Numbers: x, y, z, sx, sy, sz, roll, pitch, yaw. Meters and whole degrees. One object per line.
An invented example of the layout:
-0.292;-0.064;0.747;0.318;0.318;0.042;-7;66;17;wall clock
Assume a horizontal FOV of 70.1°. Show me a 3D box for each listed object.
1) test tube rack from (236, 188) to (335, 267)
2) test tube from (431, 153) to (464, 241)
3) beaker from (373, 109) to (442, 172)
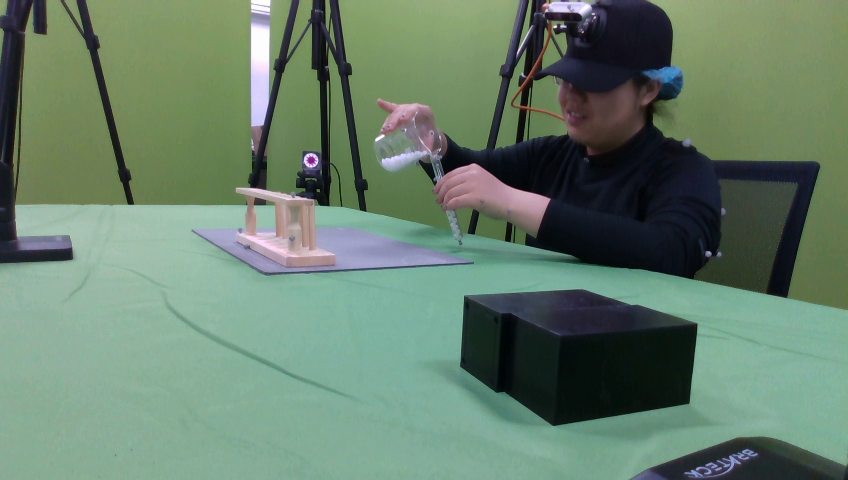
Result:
-0.202;-0.024;0.855;0.067;0.085;0.241;-2;9;-31;test tube rack
0.039;-0.071;0.993;0.017;0.150;0.017;-16;-4;-1;test tube
-0.029;-0.163;1.026;0.100;0.084;0.074;-23;-6;34;beaker
